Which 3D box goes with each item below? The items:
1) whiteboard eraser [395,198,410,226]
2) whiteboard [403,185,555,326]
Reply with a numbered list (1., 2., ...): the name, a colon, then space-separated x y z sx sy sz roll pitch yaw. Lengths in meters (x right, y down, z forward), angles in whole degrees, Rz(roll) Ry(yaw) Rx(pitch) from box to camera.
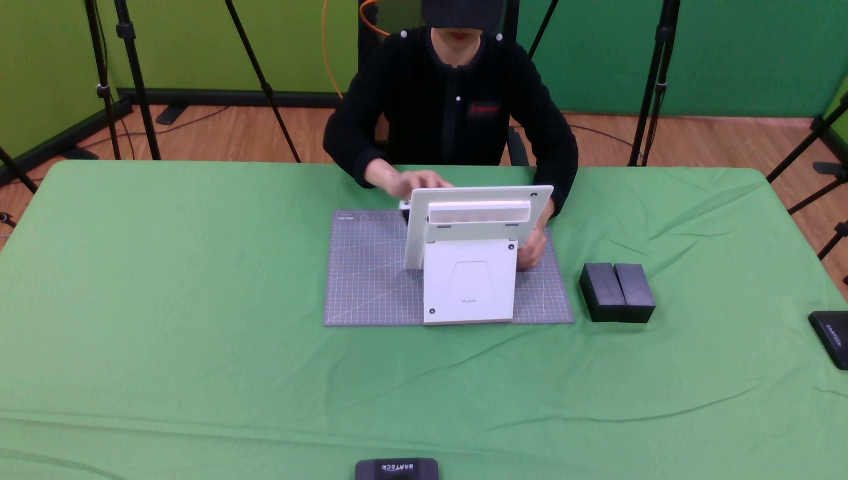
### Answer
1. whiteboard eraser: 0.010 -0.049 1.042 0.112 0.056 0.041 -4 62 13
2. whiteboard: 0.081 0.044 1.005 0.217 0.306 0.143 -1 65 -5
